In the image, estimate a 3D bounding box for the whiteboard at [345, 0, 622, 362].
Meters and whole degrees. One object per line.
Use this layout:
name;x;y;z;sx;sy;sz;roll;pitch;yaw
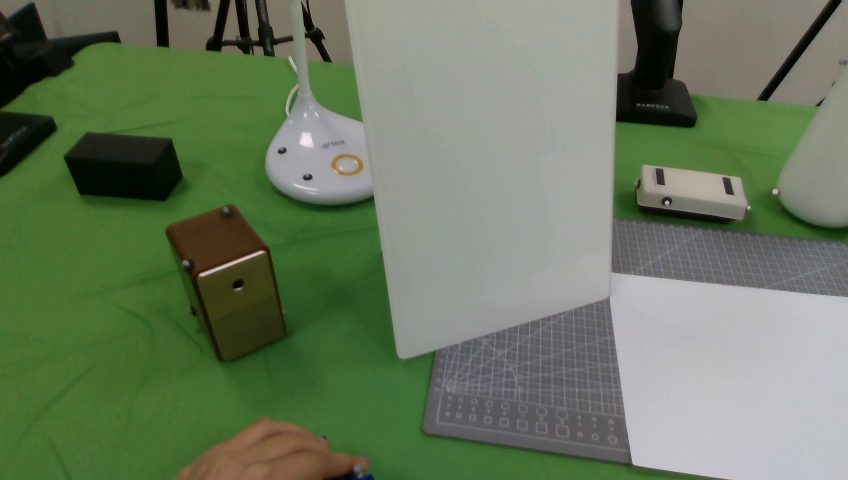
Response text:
whiteboard;0.042;-0.082;0.543;0.218;0.307;0.142;-13;25;-16

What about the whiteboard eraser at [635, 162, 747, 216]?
whiteboard eraser;0.296;-0.055;0.679;0.112;0.042;0.055;8;40;8

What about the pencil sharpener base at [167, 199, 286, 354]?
pencil sharpener base;-0.166;0.031;0.514;0.061;0.108;0.076;-24;48;-26

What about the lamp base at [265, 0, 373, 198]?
lamp base;-0.114;-0.165;0.680;0.161;0.182;0.177;-28;47;-29

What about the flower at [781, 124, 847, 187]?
flower;0.463;-0.163;0.565;0.044;0.364;0.038;-10;60;-22

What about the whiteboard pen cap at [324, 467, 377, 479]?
whiteboard pen cap;-0.047;0.154;0.387;0.033;0.018;0.018;-7;37;25

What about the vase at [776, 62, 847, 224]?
vase;0.453;-0.113;0.632;0.098;0.202;0.097;2;42;-1

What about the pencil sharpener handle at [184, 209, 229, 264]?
pencil sharpener handle;-0.193;-0.008;0.538;0.036;0.068;0.030;-30;50;-19
